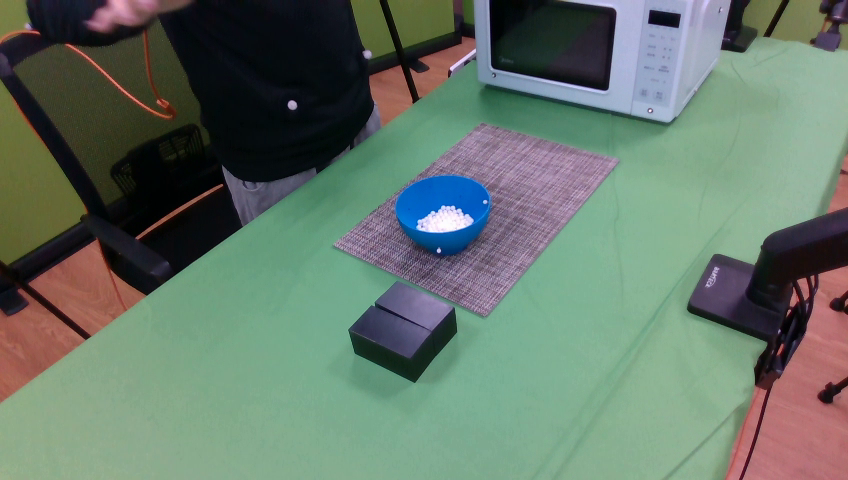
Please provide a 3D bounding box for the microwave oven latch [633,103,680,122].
[{"bbox_3d":[0.443,-0.249,1.157,0.078,0.029,0.030,20,48,29],"label":"microwave oven latch"}]

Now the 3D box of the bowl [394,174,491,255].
[{"bbox_3d":[0.032,-0.030,0.949,0.151,0.077,0.150,-4,40,4],"label":"bowl"}]

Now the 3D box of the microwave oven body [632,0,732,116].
[{"bbox_3d":[0.377,-0.462,1.267,0.438,0.261,0.327,21,49,30],"label":"microwave oven body"}]

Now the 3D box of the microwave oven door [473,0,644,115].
[{"bbox_3d":[0.257,-0.396,1.199,0.353,0.245,0.039,21,48,29],"label":"microwave oven door"}]
